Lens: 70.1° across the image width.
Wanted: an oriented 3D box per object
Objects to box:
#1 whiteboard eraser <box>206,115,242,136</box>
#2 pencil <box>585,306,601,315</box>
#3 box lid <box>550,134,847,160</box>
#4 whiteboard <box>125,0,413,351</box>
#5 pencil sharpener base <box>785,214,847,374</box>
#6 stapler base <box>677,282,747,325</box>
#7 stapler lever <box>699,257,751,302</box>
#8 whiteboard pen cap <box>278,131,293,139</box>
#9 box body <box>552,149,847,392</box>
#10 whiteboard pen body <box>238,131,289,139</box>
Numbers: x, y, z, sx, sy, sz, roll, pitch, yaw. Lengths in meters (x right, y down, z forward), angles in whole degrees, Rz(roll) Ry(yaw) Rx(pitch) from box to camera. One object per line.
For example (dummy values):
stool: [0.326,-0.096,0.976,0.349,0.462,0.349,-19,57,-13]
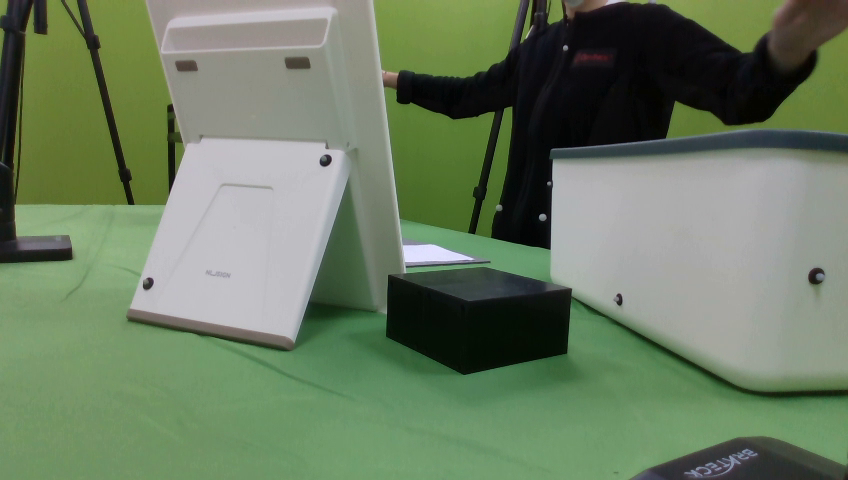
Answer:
whiteboard eraser: [-0.438,-0.249,1.320,0.056,0.042,0.112,-3,9,-30]
pencil: [0.250,0.055,0.656,0.195,0.012,0.012,-11,13,-28]
box lid: [0.294,-0.071,0.538,0.264,0.015,0.370,2,6,-10]
whiteboard: [-0.151,-0.050,0.471,0.216,0.305,0.144,6,27,24]
pencil sharpener base: [0.322,0.038,0.441,0.077,0.107,0.061,1,8,-18]
stapler base: [0.283,0.056,0.584,0.041,0.024,0.131,33,19,33]
stapler lever: [0.291,0.035,0.580,0.026,0.040,0.119,33,21,33]
whiteboard pen cap: [-0.312,-0.236,1.357,0.033,0.018,0.018,6,8,22]
box body: [0.290,0.002,0.549,0.255,0.160,0.363,2,7,-10]
whiteboard pen body: [-0.366,-0.240,1.381,0.140,0.017,0.017,6,8,24]
